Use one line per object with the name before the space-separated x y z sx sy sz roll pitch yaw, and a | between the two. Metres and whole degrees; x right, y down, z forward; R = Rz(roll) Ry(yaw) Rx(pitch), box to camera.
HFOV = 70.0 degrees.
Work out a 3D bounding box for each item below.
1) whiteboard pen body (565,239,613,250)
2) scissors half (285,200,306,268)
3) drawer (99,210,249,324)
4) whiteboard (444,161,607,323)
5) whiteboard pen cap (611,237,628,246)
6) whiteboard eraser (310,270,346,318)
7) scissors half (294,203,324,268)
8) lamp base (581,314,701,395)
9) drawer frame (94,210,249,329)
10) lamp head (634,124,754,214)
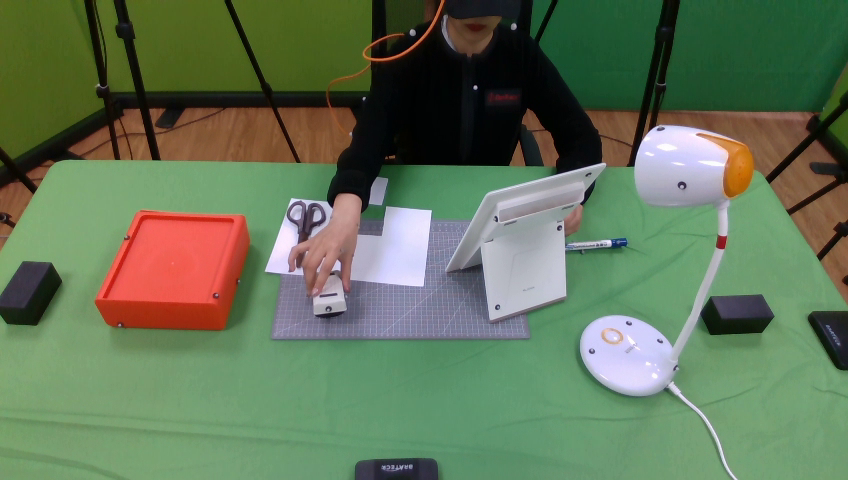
whiteboard pen body | 0.331 0.008 1.212 0.141 0.017 0.017 -5 47 -4
scissors half | -0.250 -0.014 1.192 0.040 0.013 0.174 1 49 -17
drawer | -0.435 0.044 1.081 0.194 0.073 0.210 3 47 -2
whiteboard | 0.186 0.025 1.029 0.217 0.306 0.143 -14 68 -18
whiteboard pen cap | 0.390 0.004 1.215 0.033 0.018 0.018 -7 47 -2
whiteboard eraser | -0.169 0.094 1.057 0.055 0.042 0.112 -10 28 -8
scissors half | -0.231 -0.009 1.197 0.040 0.013 0.174 19 46 -8
lamp base | 0.361 0.144 0.973 0.178 0.181 0.160 34 53 23
drawer frame | -0.435 0.048 1.076 0.202 0.083 0.212 2 47 -3
lamp head | 0.351 -0.089 0.776 0.112 0.113 0.122 -30 30 -28
